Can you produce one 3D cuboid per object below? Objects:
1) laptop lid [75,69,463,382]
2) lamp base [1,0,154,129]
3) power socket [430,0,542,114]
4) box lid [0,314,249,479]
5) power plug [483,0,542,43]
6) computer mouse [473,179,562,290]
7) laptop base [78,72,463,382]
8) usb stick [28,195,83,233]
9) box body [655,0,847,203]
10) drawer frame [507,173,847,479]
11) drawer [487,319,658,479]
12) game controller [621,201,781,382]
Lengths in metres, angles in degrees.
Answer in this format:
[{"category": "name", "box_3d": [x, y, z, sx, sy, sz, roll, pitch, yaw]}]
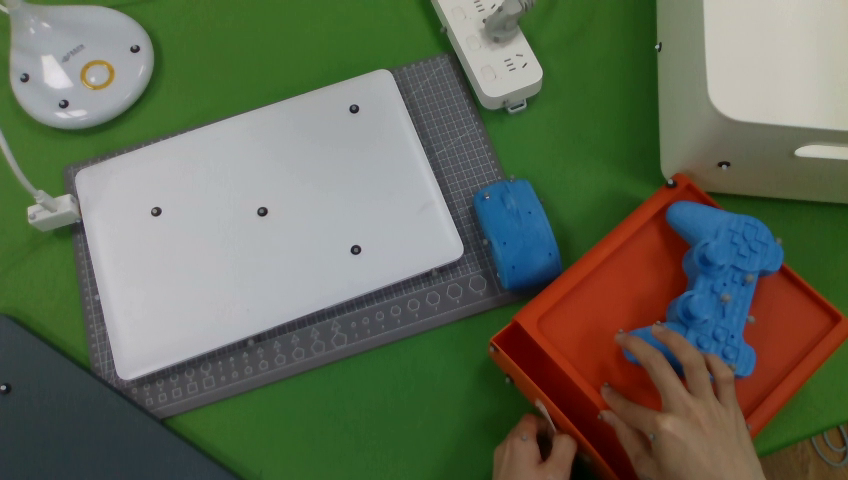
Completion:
[{"category": "laptop lid", "box_3d": [-0.162, -0.026, 0.616, 0.357, 0.013, 0.240, -19, 74, -4]}, {"category": "lamp base", "box_3d": [-0.403, -0.229, 0.622, 0.178, 0.181, 0.160, 29, 74, 15]}, {"category": "power socket", "box_3d": [0.062, -0.244, 0.688, 0.072, 0.033, 0.225, -20, 71, -7]}, {"category": "box lid", "box_3d": [-0.350, 0.254, 0.543, 0.370, 0.015, 0.262, 29, 75, 11]}, {"category": "power plug", "box_3d": [0.101, -0.234, 0.659, 0.072, 0.053, 0.035, -10, 69, -3]}, {"category": "computer mouse", "box_3d": [0.092, -0.009, 0.601, 0.063, 0.041, 0.116, -15, 67, -1]}, {"category": "laptop base", "box_3d": [-0.162, -0.024, 0.628, 0.354, 0.023, 0.234, -20, 75, -5]}, {"category": "usb stick", "box_3d": [-0.370, -0.029, 0.623, 0.059, 0.027, 0.021, -17, 66, -6]}, {"category": "box body", "box_3d": [0.374, -0.227, 0.602, 0.254, 0.161, 0.362, 5, 71, 4]}, {"category": "drawer frame", "box_3d": [0.217, 0.082, 0.544, 0.213, 0.083, 0.200, -40, 73, -11]}, {"category": "drawer", "box_3d": [0.196, 0.101, 0.539, 0.211, 0.074, 0.193, -39, 73, -11]}, {"category": "game controller", "box_3d": [0.234, 0.042, 0.503, 0.097, 0.052, 0.154, 23, 74, 7]}]
